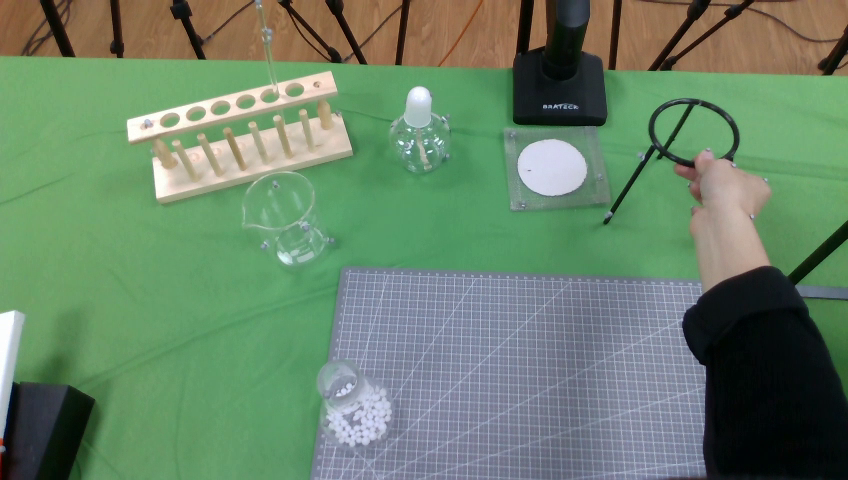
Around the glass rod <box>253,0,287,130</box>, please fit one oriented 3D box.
[{"bbox_3d":[-0.173,-0.192,0.692,0.008,0.201,0.008,2,60,-2],"label":"glass rod"}]

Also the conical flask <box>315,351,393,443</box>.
[{"bbox_3d":[-0.071,0.140,0.561,0.075,0.123,0.074,-1,61,2],"label":"conical flask"}]

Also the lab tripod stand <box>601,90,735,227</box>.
[{"bbox_3d":[0.276,-0.085,0.667,0.148,0.132,0.147,-1,59,2],"label":"lab tripod stand"}]

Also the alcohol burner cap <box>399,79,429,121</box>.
[{"bbox_3d":[-0.010,-0.163,0.690,0.034,0.048,0.033,4,61,-6],"label":"alcohol burner cap"}]

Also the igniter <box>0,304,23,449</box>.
[{"bbox_3d":[-0.403,0.188,0.549,0.057,0.025,0.274,-14,61,7],"label":"igniter"}]

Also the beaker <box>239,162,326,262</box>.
[{"bbox_3d":[-0.153,-0.024,0.669,0.084,0.101,0.073,-36,66,-16],"label":"beaker"}]

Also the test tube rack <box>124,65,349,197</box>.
[{"bbox_3d":[-0.221,-0.132,0.737,0.242,0.086,0.066,-16,62,-7],"label":"test tube rack"}]

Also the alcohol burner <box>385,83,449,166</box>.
[{"bbox_3d":[-0.009,-0.144,0.721,0.078,0.120,0.077,0,59,1],"label":"alcohol burner"}]

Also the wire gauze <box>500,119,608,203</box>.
[{"bbox_3d":[0.159,-0.102,0.753,0.121,0.011,0.124,-2,61,0],"label":"wire gauze"}]
